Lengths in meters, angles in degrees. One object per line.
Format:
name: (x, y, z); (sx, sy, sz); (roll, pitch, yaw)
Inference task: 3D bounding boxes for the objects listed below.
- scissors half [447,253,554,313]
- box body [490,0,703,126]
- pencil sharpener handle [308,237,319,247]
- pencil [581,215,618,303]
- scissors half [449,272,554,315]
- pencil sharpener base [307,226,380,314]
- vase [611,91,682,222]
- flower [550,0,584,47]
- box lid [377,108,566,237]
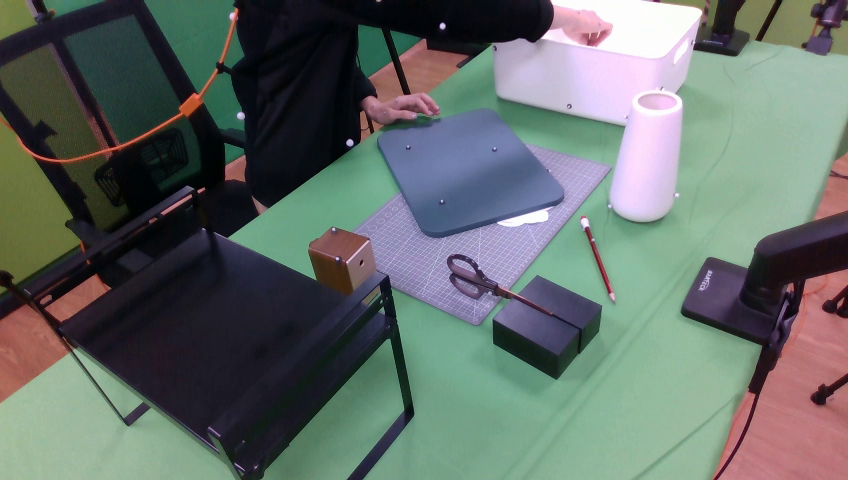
scissors half: (0.101, 0.060, 0.822); (0.174, 0.040, 0.013); (29, 50, 29)
box body: (0.352, -0.385, 1.268); (0.361, 0.161, 0.255); (21, 48, 29)
pencil sharpener handle: (-0.159, 0.017, 0.892); (0.030, 0.068, 0.036); (18, 60, 28)
pencil: (0.266, 0.025, 0.916); (0.012, 0.012, 0.193); (-6, 41, 1)
scissors half: (0.104, 0.076, 0.834); (0.173, 0.040, 0.013); (15, 47, 42)
pencil sharpener base: (-0.116, 0.043, 0.875); (0.076, 0.107, 0.061); (18, 47, 27)
vase: (0.348, -0.125, 0.935); (0.098, 0.201, 0.097); (-3, 40, 3)
flower: (0.346, -0.378, 1.257); (0.038, 0.044, 0.359); (13, 46, -41)
box lid: (0.074, -0.141, 1.137); (0.264, 0.015, 0.368); (-16, 40, -10)
